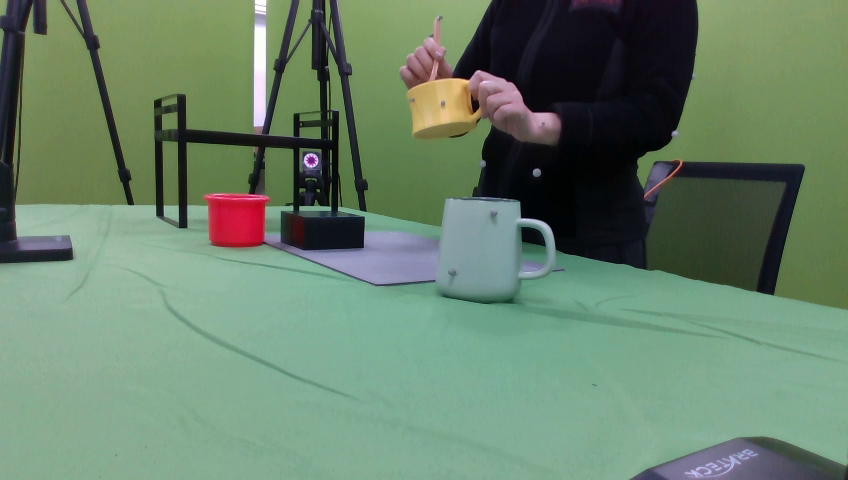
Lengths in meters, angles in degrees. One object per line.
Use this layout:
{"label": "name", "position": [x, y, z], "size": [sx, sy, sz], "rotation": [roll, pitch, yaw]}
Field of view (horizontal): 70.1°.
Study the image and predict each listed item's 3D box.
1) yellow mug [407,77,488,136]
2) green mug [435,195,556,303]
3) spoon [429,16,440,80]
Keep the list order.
{"label": "yellow mug", "position": [0.040, -0.201, 0.903], "size": [0.130, 0.064, 0.100], "rotation": [-9, 0, 38]}
{"label": "green mug", "position": [0.074, 0.009, 0.624], "size": [0.125, 0.105, 0.093], "rotation": [5, 7, 23]}
{"label": "spoon", "position": [0.014, -0.265, 0.926], "size": [0.022, 0.193, 0.041], "rotation": [16, -26, -19]}
